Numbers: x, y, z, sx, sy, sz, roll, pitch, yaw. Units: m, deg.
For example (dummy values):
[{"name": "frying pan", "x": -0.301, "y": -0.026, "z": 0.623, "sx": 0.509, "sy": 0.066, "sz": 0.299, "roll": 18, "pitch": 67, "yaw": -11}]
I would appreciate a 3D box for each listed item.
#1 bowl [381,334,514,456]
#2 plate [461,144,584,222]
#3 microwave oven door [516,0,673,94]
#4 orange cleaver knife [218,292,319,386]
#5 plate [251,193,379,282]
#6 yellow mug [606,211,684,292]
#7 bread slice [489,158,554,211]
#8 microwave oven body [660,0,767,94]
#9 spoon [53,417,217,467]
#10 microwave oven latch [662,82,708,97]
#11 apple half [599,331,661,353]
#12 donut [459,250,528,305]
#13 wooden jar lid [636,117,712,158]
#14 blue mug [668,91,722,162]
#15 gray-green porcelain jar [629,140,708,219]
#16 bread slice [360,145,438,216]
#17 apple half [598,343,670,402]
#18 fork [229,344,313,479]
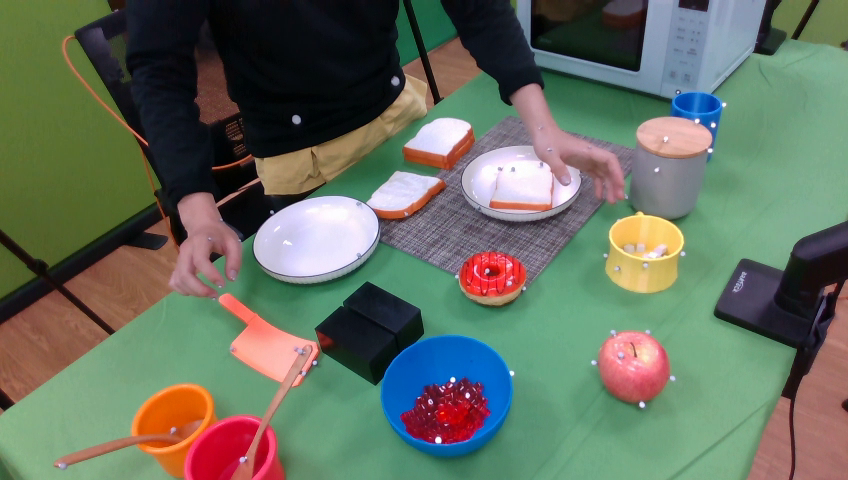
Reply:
[{"name": "bowl", "x": 0.029, "y": 0.192, "z": 0.701, "sx": 0.151, "sy": 0.077, "sz": 0.150, "roll": -4, "pitch": 40, "yaw": 4}, {"name": "plate", "x": 0.167, "y": -0.095, "z": 1.040, "sx": 0.207, "sy": 0.039, "sz": 0.206, "roll": -4, "pitch": 41, "yaw": 4}, {"name": "microwave oven door", "x": 0.344, "y": -0.459, "z": 1.256, "sx": 0.353, "sy": 0.245, "sz": 0.039, "roll": 26, "pitch": 52, "yaw": 33}, {"name": "orange cleaver knife", "x": -0.235, "y": 0.136, "z": 0.850, "sx": 0.209, "sy": 0.012, "sz": 0.077, "roll": 25, "pitch": 56, "yaw": 30}, {"name": "plate", "x": -0.174, "y": -0.001, "z": 0.985, "sx": 0.209, "sy": 0.038, "sz": 0.208, "roll": -3, "pitch": 40, "yaw": 3}, {"name": "yellow mug", "x": 0.319, "y": 0.008, "z": 0.884, "sx": 0.100, "sy": 0.064, "sz": 0.130, "roll": 0, "pitch": 40, "yaw": 9}, {"name": "bread slice", "x": 0.172, "y": -0.099, "z": 1.047, "sx": 0.104, "sy": 0.019, "sz": 0.131, "roll": 4, "pitch": 43, "yaw": 12}, {"name": "microwave oven body", "x": 0.474, "y": -0.517, "z": 1.313, "sx": 0.438, "sy": 0.261, "sz": 0.327, "roll": 26, "pitch": 51, "yaw": 34}, {"name": "spoon", "x": -0.308, "y": 0.219, "z": 0.663, "sx": 0.041, "sy": 0.195, "sz": 0.021, "roll": 25, "pitch": 94, "yaw": 29}, {"name": "microwave oven latch", "x": 0.518, "y": -0.298, "z": 1.203, "sx": 0.078, "sy": 0.029, "sz": 0.030, "roll": 28, "pitch": 53, "yaw": 35}, {"name": "apple half", "x": 0.249, "y": 0.134, "z": 0.738, "sx": 0.081, "sy": 0.081, "sz": 0.032, "roll": -1, "pitch": 46, "yaw": 7}, {"name": "donut", "x": 0.100, "y": 0.053, "z": 0.872, "sx": 0.099, "sy": 0.048, "sz": 0.098, "roll": -5, "pitch": 40, "yaw": 4}, {"name": "wooden jar lid", "x": 0.377, "y": -0.151, "z": 0.917, "sx": 0.108, "sy": 0.021, "sz": 0.108, "roll": -2, "pitch": 41, "yaw": 3}, {"name": "blue mug", "x": 0.474, "y": -0.207, "z": 1.078, "sx": 0.082, "sy": 0.106, "sz": 0.116, "roll": 4, "pitch": 42, "yaw": 13}, {"name": "gray-green porcelain jar", "x": 0.383, "y": -0.105, "z": 0.958, "sx": 0.106, "sy": 0.127, "sz": 0.105, "roll": -4, "pitch": 41, "yaw": 4}, {"name": "bread slice", "x": -0.053, "y": -0.103, "z": 1.046, "sx": 0.106, "sy": 0.018, "sz": 0.134, "roll": 19, "pitch": 67, "yaw": 23}, {"name": "apple half", "x": 0.247, "y": 0.161, "z": 0.710, "sx": 0.081, "sy": 0.075, "sz": 0.053, "roll": 2, "pitch": 47, "yaw": 5}, {"name": "fork", "x": -0.173, "y": 0.205, "z": 0.662, "sx": 0.028, "sy": 0.019, "sz": 0.207, "roll": 29, "pitch": 94, "yaw": 36}]
